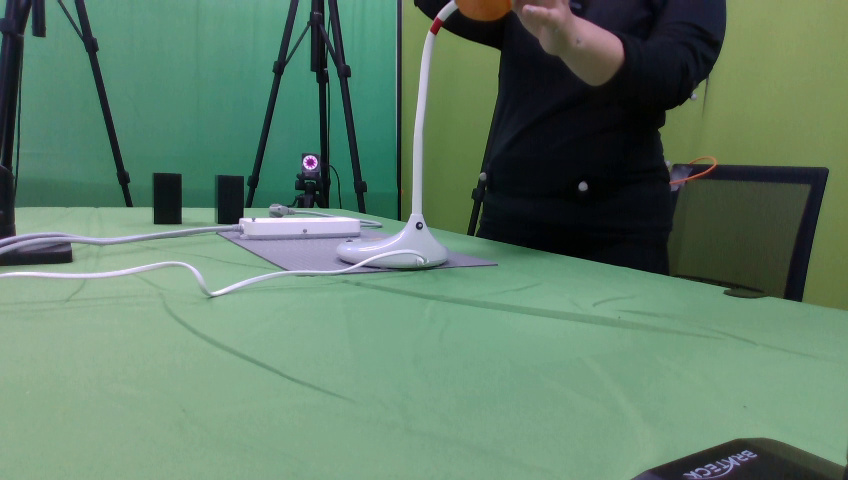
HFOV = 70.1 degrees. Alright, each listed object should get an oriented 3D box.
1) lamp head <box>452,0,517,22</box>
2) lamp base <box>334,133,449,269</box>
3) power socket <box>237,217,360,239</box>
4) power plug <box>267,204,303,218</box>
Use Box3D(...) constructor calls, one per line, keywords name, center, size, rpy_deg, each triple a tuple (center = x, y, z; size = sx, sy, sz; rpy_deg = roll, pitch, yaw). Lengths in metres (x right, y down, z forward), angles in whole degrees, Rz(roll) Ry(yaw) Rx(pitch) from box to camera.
Box3D(name="lamp head", center=(0.069, -0.318, 0.701), size=(0.112, 0.122, 0.112), rpy_deg=(7, -2, 1))
Box3D(name="lamp base", center=(-0.034, -0.057, 0.831), size=(0.161, 0.180, 0.178), rpy_deg=(-3, 12, -36))
Box3D(name="power socket", center=(-0.221, -0.023, 1.080), size=(0.228, 0.032, 0.072), rpy_deg=(-2, 8, -32))
Box3D(name="power plug", center=(-0.327, -0.060, 1.404), size=(0.073, 0.035, 0.052), rpy_deg=(22, -14, -26))
